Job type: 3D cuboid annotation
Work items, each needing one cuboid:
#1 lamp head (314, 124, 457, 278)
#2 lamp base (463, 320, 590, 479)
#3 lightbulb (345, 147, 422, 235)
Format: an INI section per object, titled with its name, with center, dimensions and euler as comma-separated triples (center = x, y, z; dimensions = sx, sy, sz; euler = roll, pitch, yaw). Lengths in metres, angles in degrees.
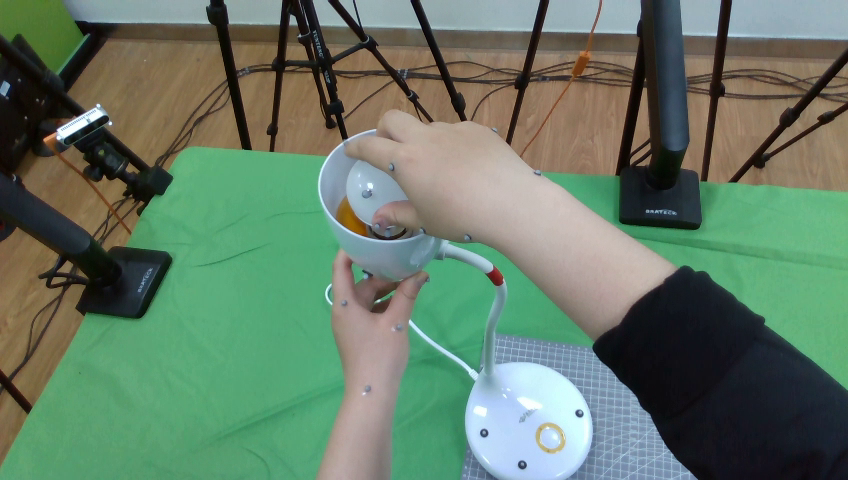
[lamp head]
center = -0.026, -0.019, 0.516
dimensions = 0.112, 0.124, 0.111
euler = -2, 58, 4
[lamp base]
center = 0.111, 0.174, 0.717
dimensions = 0.177, 0.182, 0.160
euler = 29, 63, 28
[lightbulb]
center = -0.030, -0.030, 0.491
dimensions = 0.059, 0.108, 0.059
euler = -2, 60, 3
